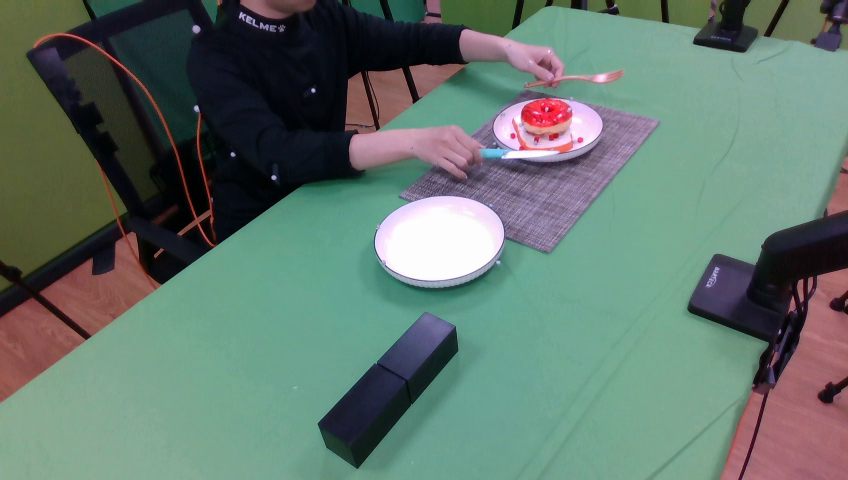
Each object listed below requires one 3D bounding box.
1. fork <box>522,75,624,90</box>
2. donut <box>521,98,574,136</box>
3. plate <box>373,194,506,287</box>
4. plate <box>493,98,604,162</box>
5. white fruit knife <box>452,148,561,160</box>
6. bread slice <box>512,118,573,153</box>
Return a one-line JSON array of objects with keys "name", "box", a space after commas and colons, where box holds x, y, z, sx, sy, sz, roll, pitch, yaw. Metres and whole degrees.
[{"name": "fork", "box": [0.296, -0.316, 1.220, 0.206, 0.018, 0.028, 5, 9, 29]}, {"name": "donut", "box": [0.232, -0.232, 1.135, 0.099, 0.048, 0.098, -4, 41, 4]}, {"name": "plate", "box": [0.025, 0.003, 0.951, 0.207, 0.039, 0.206, -4, 41, 4]}, {"name": "plate", "box": [0.237, -0.206, 1.159, 0.209, 0.038, 0.208, -4, 40, 4]}, {"name": "white fruit knife", "box": [0.143, -0.150, 1.060, 0.206, 0.016, 0.027, 5, 45, 34]}, {"name": "bread slice", "box": [0.232, -0.204, 1.160, 0.105, 0.019, 0.131, -7, 39, 1]}]
